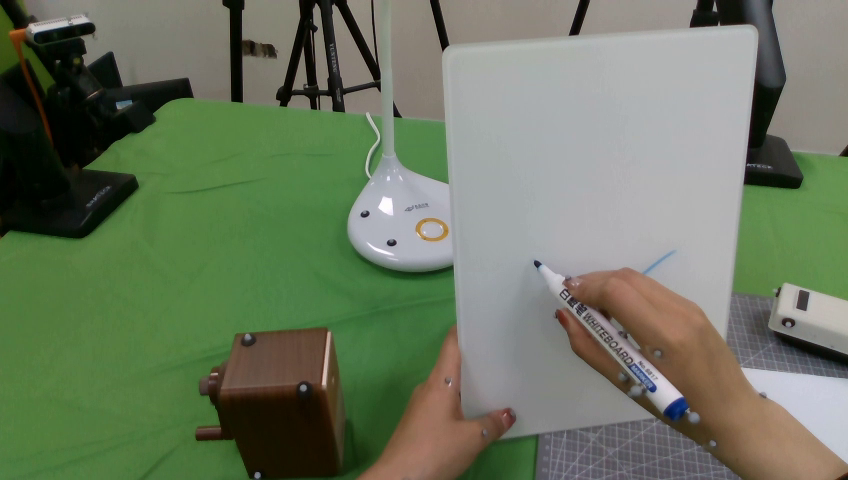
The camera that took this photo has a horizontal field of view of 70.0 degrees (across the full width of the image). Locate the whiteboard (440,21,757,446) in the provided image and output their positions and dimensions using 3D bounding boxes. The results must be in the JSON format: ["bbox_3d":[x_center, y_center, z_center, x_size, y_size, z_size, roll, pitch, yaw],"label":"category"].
[{"bbox_3d":[0.120,-0.013,0.505,0.217,0.307,0.143,-6,19,-5],"label":"whiteboard"}]

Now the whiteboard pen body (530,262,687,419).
[{"bbox_3d":[0.111,0.057,0.387,0.017,0.017,0.139,-20,46,-22],"label":"whiteboard pen body"}]

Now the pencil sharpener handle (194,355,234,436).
[{"bbox_3d":[-0.155,0.116,0.439,0.031,0.068,0.035,-3,26,-2],"label":"pencil sharpener handle"}]

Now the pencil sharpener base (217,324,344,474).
[{"bbox_3d":[-0.104,0.121,0.452,0.077,0.108,0.060,-3,39,-2],"label":"pencil sharpener base"}]

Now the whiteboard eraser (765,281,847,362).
[{"bbox_3d":[0.373,0.079,0.547,0.112,0.042,0.055,20,44,24],"label":"whiteboard eraser"}]

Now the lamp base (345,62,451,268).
[{"bbox_3d":[-0.019,-0.088,0.655,0.161,0.182,0.177,-25,42,-27],"label":"lamp base"}]
